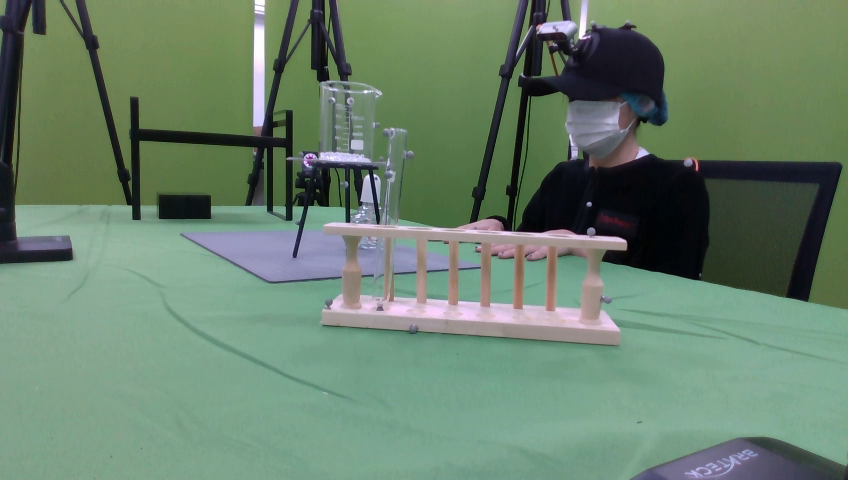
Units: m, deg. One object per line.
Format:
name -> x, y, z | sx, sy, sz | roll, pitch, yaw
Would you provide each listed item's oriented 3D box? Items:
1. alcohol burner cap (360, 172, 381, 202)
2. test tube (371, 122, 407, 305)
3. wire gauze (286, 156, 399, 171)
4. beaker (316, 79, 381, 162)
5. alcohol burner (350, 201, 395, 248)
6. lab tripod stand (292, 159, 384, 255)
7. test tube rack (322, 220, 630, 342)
alcohol burner cap -> -0.081, -0.083, 0.949 | 0.034, 0.048, 0.034 | 7, 7, -1
test tube -> -0.029, -0.020, 0.493 | 0.017, 0.150, 0.017 | 6, 9, -1
wire gauze -> -0.101, -0.103, 0.788 | 0.121, 0.011, 0.125 | 6, 4, 6
beaker -> -0.098, -0.151, 0.778 | 0.084, 0.100, 0.074 | 4, 7, 6
alcohol burner -> -0.084, -0.048, 0.953 | 0.078, 0.119, 0.078 | 1, 6, 0
lab tripod stand -> -0.105, -0.039, 0.797 | 0.148, 0.131, 0.148 | 2, 5, 0
test tube rack -> 0.041, 0.029, 0.512 | 0.242, 0.085, 0.067 | 3, 7, 5
